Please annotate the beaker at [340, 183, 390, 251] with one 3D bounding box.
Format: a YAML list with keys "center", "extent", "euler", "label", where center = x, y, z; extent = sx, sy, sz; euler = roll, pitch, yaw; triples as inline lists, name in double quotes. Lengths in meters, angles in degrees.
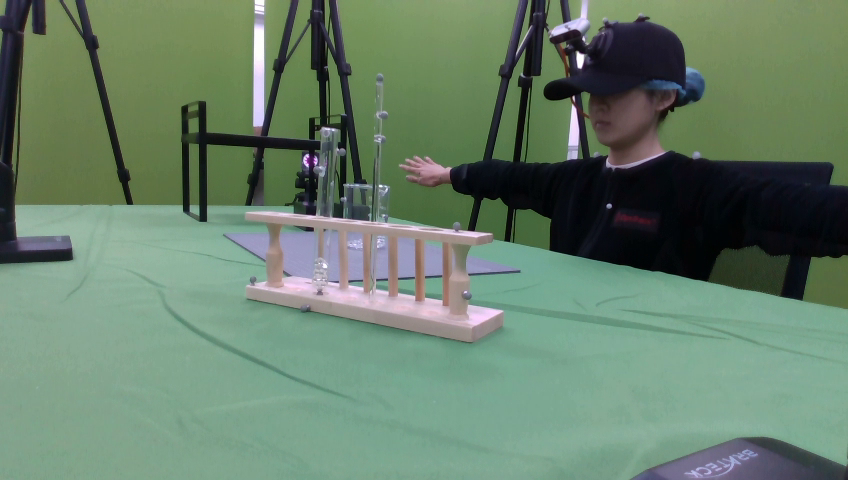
- center: [-0.090, -0.036, 0.943]
  extent: [0.083, 0.100, 0.074]
  euler: [10, 10, 41]
  label: "beaker"

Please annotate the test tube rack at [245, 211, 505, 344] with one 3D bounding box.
- center: [-0.049, 0.025, 0.547]
  extent: [0.241, 0.085, 0.067]
  euler: [7, 8, 29]
  label: "test tube rack"

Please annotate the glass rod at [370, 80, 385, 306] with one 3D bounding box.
- center: [-0.040, -0.039, 0.530]
  extent: [0.008, 0.199, 0.008]
  euler: [2, 2, 0]
  label: "glass rod"

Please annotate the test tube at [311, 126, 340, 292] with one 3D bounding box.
- center: [-0.090, -0.027, 0.546]
  extent: [0.017, 0.150, 0.017]
  euler: [6, 8, 0]
  label: "test tube"
